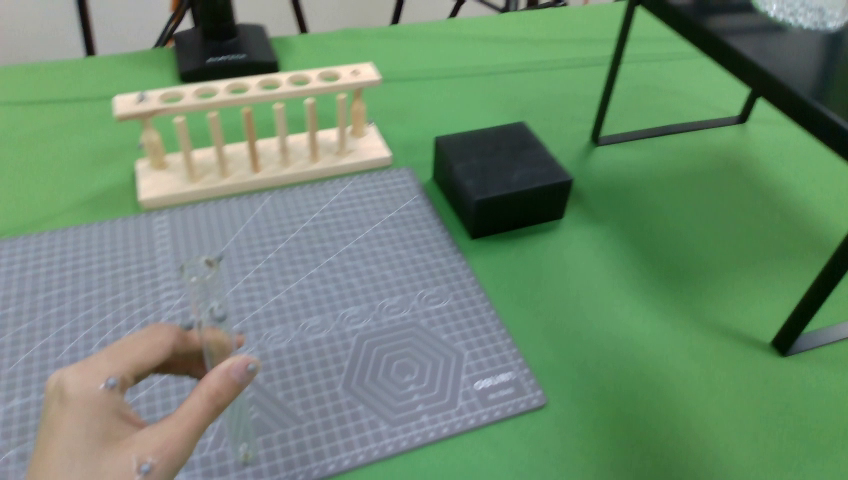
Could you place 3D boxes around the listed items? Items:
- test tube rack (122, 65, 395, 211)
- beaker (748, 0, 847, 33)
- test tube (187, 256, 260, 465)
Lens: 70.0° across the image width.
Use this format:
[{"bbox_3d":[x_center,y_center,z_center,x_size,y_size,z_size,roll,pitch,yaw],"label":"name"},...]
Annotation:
[{"bbox_3d":[-0.153,-0.103,0.593,0.243,0.086,0.066,-13,46,-17],"label":"test tube rack"},{"bbox_3d":[0.247,-0.186,0.366,0.084,0.101,0.073,-3,49,-4],"label":"beaker"},{"bbox_3d":[-0.098,0.069,0.306,0.017,0.151,0.017,3,39,-2],"label":"test tube"}]
